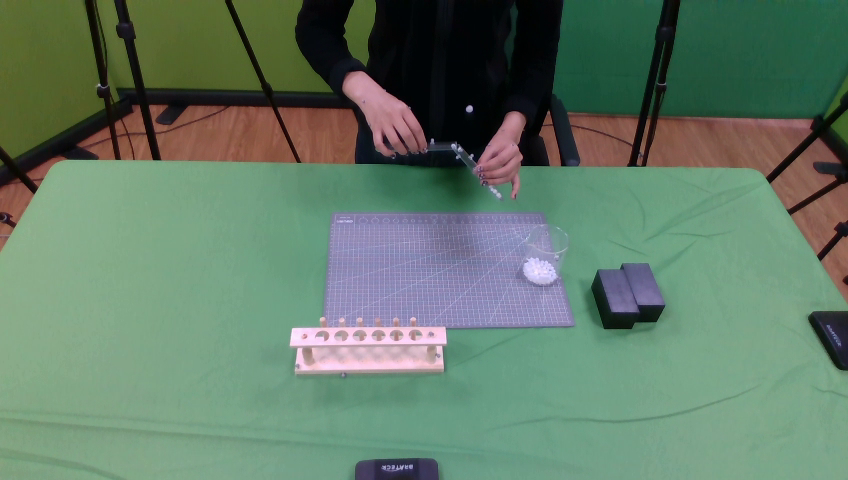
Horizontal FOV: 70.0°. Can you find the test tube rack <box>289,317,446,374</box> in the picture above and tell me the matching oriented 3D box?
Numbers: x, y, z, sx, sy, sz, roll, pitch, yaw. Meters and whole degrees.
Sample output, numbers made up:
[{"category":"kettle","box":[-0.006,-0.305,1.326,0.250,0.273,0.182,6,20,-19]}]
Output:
[{"category":"test tube rack","box":[-0.089,0.167,0.988,0.242,0.085,0.066,0,46,-4]}]

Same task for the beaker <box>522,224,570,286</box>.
[{"category":"beaker","box":[0.221,0.032,1.129,0.084,0.101,0.073,-6,46,-9]}]

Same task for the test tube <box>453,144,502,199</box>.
[{"category":"test tube","box":[0.101,-0.124,1.122,0.017,0.151,0.017,-28,38,25]}]

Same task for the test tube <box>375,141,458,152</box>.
[{"category":"test tube","box":[-0.014,-0.168,1.086,0.150,0.017,0.017,0,46,7]}]
